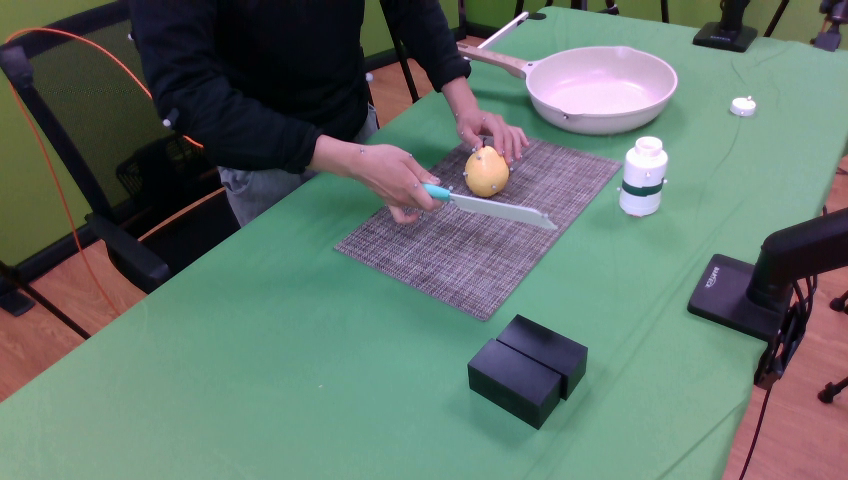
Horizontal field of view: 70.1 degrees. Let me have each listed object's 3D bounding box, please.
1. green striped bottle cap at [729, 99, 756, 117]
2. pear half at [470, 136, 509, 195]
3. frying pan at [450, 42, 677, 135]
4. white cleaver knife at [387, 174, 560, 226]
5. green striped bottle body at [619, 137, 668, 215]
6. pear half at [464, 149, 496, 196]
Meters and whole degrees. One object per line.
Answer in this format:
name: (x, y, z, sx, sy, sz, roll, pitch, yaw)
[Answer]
green striped bottle cap: (0.623, -0.259, 1.182, 0.044, 0.020, 0.044, -3, 40, 3)
pear half: (0.114, -0.136, 1.036, 0.076, 0.110, 0.056, 31, 53, 31)
frying pan: (0.268, -0.344, 1.267, 0.485, 0.103, 0.307, 25, 49, 21)
white cleaver knife: (0.057, -0.053, 0.849, 0.284, 0.066, 0.021, 17, 78, 39)
green striped bottle body: (0.350, -0.103, 0.963, 0.063, 0.120, 0.063, -4, 41, 4)
pear half: (0.090, -0.110, 1.025, 0.070, 0.088, 0.031, 30, 53, 31)
